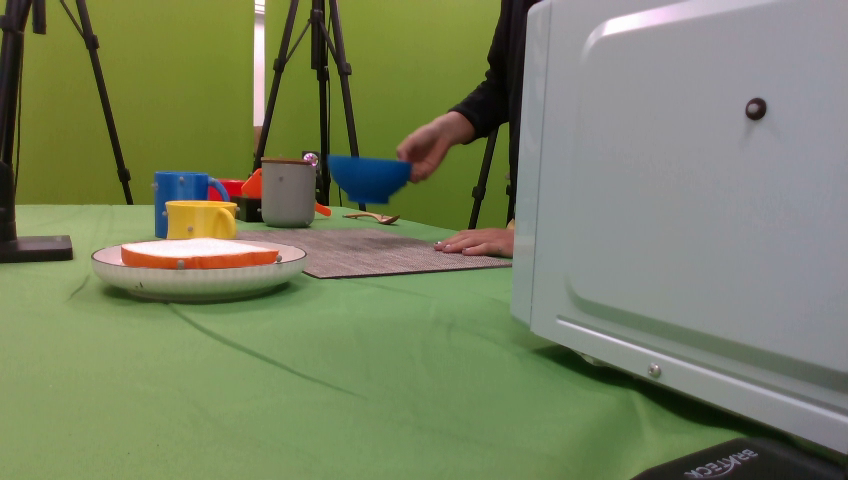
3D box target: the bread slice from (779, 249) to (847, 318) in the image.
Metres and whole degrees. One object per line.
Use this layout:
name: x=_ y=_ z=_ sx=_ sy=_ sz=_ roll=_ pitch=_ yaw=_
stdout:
bread slice: x=0.369 y=0.024 z=0.477 sx=0.132 sy=0.019 sz=0.104 roll=-24 pitch=10 yaw=-8

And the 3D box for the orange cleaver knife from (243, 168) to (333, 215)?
orange cleaver knife: x=-0.300 y=-0.089 z=1.351 sx=0.212 sy=0.077 sz=0.012 roll=28 pitch=-9 yaw=-34

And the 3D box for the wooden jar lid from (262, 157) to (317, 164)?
wooden jar lid: x=-0.269 y=-0.154 z=1.208 sx=0.108 sy=0.020 sz=0.108 roll=3 pitch=4 yaw=0

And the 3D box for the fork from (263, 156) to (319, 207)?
fork: x=-0.331 y=-0.144 z=1.505 sx=0.207 sy=0.018 sz=0.028 roll=-42 pitch=-21 yaw=22

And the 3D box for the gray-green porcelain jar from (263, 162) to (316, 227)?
gray-green porcelain jar: x=-0.271 y=-0.092 z=1.217 sx=0.106 sy=0.126 sz=0.106 roll=2 pitch=7 yaw=0

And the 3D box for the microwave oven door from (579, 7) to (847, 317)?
microwave oven door: x=0.294 y=-0.067 z=0.570 sx=0.358 sy=0.243 sz=0.039 roll=-3 pitch=9 yaw=-31

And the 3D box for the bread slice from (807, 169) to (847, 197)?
bread slice: x=0.365 y=-0.051 z=0.453 sx=0.135 sy=0.018 sz=0.106 roll=-10 pitch=1 yaw=-23

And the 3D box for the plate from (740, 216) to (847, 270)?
plate: x=0.358 y=0.002 z=0.464 sx=0.209 sy=0.038 sz=0.209 roll=1 pitch=4 yaw=0

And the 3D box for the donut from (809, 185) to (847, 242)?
donut: x=0.352 y=-0.024 z=0.463 sx=0.099 sy=0.048 sz=0.099 roll=-10 pitch=4 yaw=1

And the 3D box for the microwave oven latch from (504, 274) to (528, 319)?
microwave oven latch: x=0.100 y=0.041 z=0.471 sx=0.079 sy=0.029 sz=0.030 roll=-1 pitch=7 yaw=-28

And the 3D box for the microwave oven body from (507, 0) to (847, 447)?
microwave oven body: x=0.331 y=-0.042 z=0.425 sx=0.444 sy=0.260 sz=0.324 roll=-2 pitch=8 yaw=-31

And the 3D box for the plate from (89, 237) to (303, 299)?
plate: x=-0.233 y=0.029 z=0.636 sx=0.208 sy=0.039 sz=0.207 roll=2 pitch=7 yaw=0

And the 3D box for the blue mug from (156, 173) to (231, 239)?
blue mug: x=-0.381 y=-0.057 z=1.004 sx=0.117 sy=0.106 sz=0.082 roll=0 pitch=8 yaw=-12

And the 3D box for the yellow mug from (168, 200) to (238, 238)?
yellow mug: x=-0.319 y=-0.023 z=0.904 sx=0.130 sy=0.064 sz=0.100 roll=8 pitch=11 yaw=36

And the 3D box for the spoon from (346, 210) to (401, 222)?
spoon: x=-0.121 y=-0.060 z=1.400 sx=0.042 sy=0.021 sz=0.192 roll=-28 pitch=25 yaw=-37

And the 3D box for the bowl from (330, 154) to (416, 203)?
bowl: x=-0.091 y=-0.106 z=1.059 sx=0.151 sy=0.077 sz=0.151 roll=4 pitch=7 yaw=0
